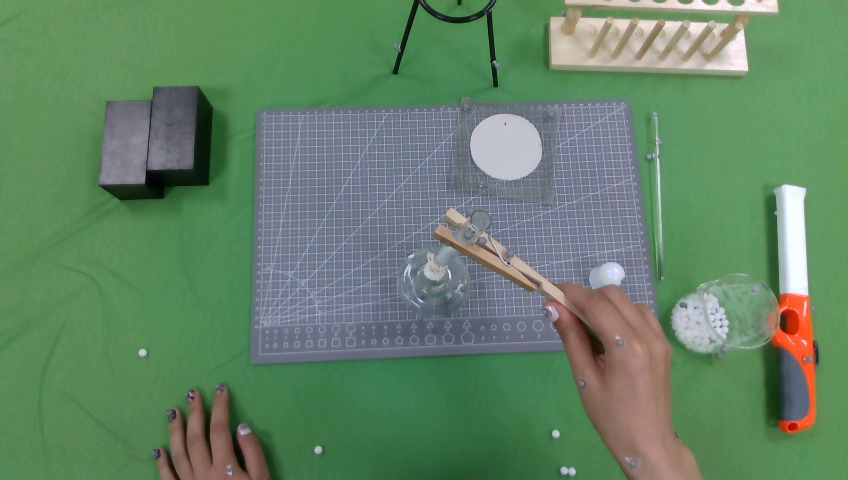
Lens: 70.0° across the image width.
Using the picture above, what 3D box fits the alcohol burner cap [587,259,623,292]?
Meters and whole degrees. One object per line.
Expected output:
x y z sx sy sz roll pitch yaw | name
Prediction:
0.201 0.037 0.666 0.034 0.048 0.033 0 76 -1 | alcohol burner cap

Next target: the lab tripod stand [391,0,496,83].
0.029 -0.249 0.688 0.148 0.132 0.147 0 78 -1 | lab tripod stand

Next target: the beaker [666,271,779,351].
0.303 0.076 0.633 0.084 0.101 0.074 29 76 7 | beaker

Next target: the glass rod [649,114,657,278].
0.269 -0.054 0.710 0.008 0.008 0.199 4 78 -1 | glass rod

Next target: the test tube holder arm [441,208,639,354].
0.087 0.031 0.458 0.178 0.015 0.013 34 82 0 | test tube holder arm

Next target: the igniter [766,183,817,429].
0.408 0.069 0.674 0.057 0.025 0.275 9 76 -9 | igniter

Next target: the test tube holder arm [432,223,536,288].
0.046 0.012 0.457 0.088 0.015 0.010 28 82 -1 | test tube holder arm

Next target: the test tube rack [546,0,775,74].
0.275 -0.252 0.720 0.242 0.085 0.066 2 76 -1 | test tube rack

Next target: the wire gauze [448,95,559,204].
0.096 -0.111 0.718 0.125 0.011 0.121 9 77 0 | wire gauze

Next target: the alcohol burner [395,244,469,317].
0.008 0.038 0.625 0.078 0.119 0.077 0 75 1 | alcohol burner

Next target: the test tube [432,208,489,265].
0.025 0.001 0.478 0.017 0.150 0.017 2 78 -9 | test tube
